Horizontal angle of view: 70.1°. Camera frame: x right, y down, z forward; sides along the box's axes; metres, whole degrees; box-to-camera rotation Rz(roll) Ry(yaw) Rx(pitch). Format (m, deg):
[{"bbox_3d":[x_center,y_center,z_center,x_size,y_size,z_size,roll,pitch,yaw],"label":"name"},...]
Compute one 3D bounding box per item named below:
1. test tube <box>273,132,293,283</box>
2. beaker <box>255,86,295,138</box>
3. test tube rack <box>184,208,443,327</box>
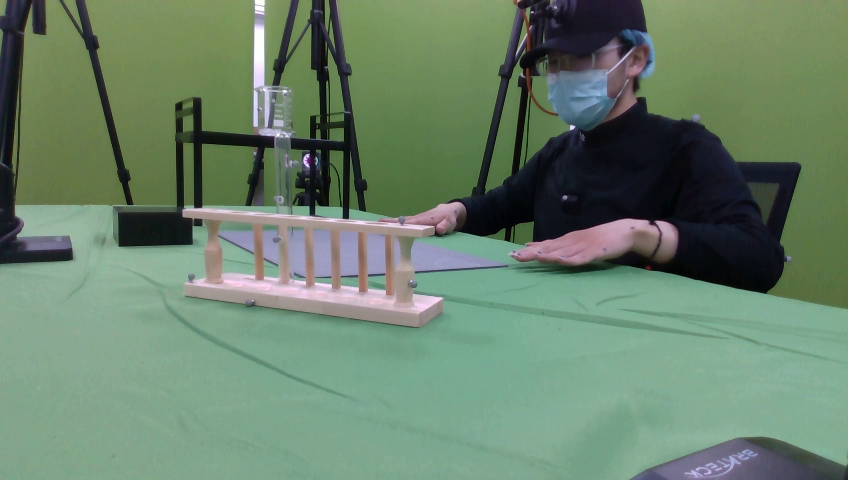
[{"bbox_3d":[-0.139,-0.030,0.596,0.017,0.150,0.017,1,9,0],"label":"test tube"},{"bbox_3d":[-0.309,-0.263,1.251,0.084,0.100,0.073,-4,9,-38],"label":"beaker"},{"bbox_3d":[-0.106,0.019,0.570,0.241,0.085,0.067,5,8,19],"label":"test tube rack"}]
